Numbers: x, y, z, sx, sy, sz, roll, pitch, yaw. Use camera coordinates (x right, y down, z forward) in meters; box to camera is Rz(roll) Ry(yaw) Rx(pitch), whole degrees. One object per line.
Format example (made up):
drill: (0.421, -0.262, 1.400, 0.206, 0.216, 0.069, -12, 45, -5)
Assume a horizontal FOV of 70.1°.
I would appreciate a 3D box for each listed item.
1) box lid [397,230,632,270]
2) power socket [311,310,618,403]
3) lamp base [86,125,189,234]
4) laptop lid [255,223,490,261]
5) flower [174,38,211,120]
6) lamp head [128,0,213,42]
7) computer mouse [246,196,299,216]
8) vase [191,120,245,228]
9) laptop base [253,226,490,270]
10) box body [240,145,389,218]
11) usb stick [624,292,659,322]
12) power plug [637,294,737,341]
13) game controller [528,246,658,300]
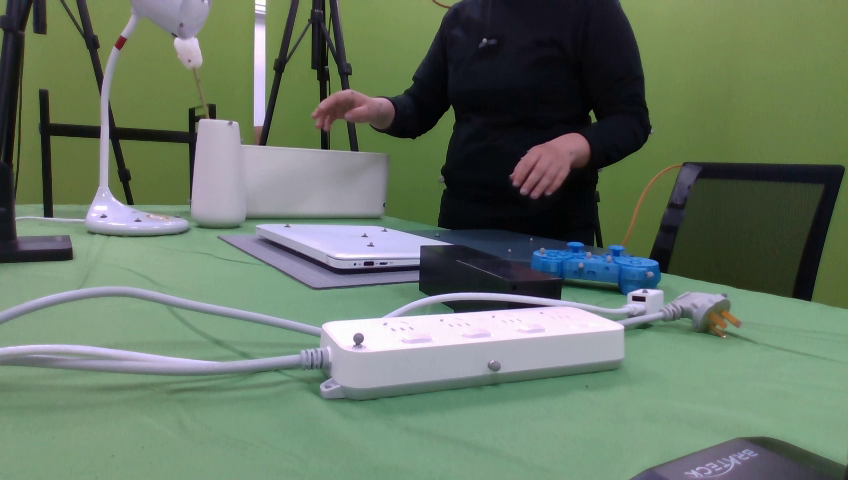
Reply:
box lid: (0.140, 0.012, 1.045, 0.265, 0.015, 0.369, -1, 9, -32)
power socket: (0.033, 0.074, 0.415, 0.228, 0.032, 0.072, -1, 7, -24)
lamp base: (-0.497, -0.105, 1.027, 0.179, 0.180, 0.160, 1, 7, 2)
laptop lid: (-0.093, 0.000, 0.911, 0.243, 0.013, 0.355, 1, 7, -30)
flower: (-0.401, -0.207, 1.141, 0.038, 0.361, 0.044, -14, 3, 44)
lamp head: (-0.423, -0.394, 0.980, 0.123, 0.112, 0.112, 20, 7, -3)
computer mouse: (-0.346, -0.077, 1.381, 0.118, 0.041, 0.062, -9, 15, -28)
vase: (-0.389, -0.124, 1.142, 0.098, 0.200, 0.098, 3, 9, 0)
laptop base: (-0.096, 0.011, 0.910, 0.237, 0.023, 0.352, 3, 6, -32)
box body: (-0.297, -0.143, 1.474, 0.366, 0.160, 0.253, -1, 9, -30)
usb stick: (0.211, 0.064, 0.580, 0.021, 0.027, 0.059, -2, -4, 36)
power plug: (0.234, 0.077, 0.535, 0.072, 0.035, 0.052, -33, 40, -6)
game controller: (0.202, 0.036, 0.732, 0.155, 0.051, 0.097, 5, 10, 20)
